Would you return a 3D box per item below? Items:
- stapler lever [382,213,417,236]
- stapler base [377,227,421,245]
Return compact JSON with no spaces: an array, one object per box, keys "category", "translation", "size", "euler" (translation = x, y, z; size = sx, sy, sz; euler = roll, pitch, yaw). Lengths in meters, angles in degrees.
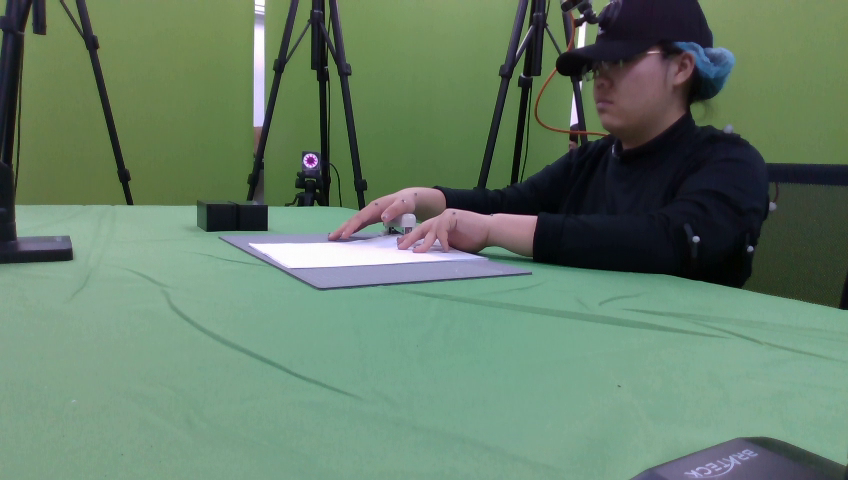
[{"category":"stapler lever","translation":[-0.044,-0.033,1.072],"size":[0.027,0.040,0.117],"euler":[3,9,-23]},{"category":"stapler base","translation":[-0.044,-0.011,1.073],"size":[0.041,0.024,0.130],"euler":[3,5,-23]}]
